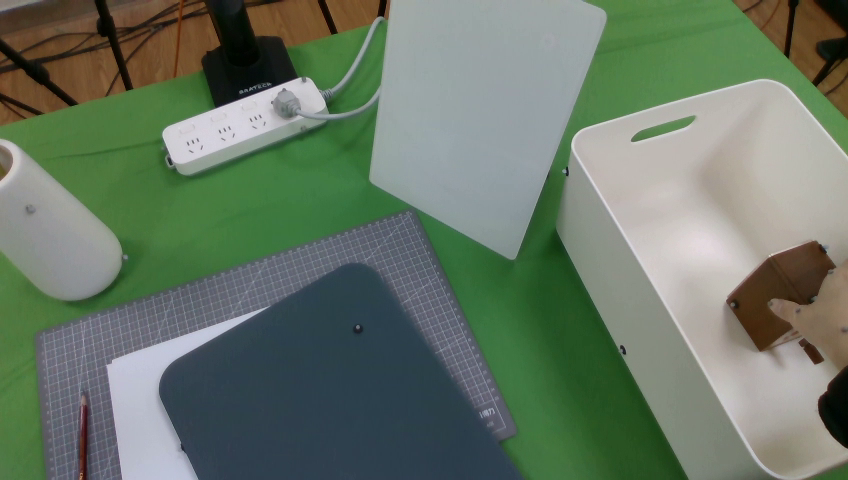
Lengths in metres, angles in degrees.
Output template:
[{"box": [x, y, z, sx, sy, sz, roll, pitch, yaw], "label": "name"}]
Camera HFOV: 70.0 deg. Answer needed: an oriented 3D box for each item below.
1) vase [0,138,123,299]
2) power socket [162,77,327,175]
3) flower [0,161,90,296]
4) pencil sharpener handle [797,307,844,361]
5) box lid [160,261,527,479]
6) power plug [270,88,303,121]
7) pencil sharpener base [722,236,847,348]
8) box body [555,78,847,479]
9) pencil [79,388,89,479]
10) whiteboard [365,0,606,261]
[{"box": [-0.400, -0.016, 0.630, 0.098, 0.201, 0.097, -1, 59, 2], "label": "vase"}, {"box": [-0.235, -0.154, 0.805, 0.227, 0.033, 0.071, -24, 63, -14], "label": "power socket"}, {"box": [-0.401, -0.075, 0.569, 0.038, 0.365, 0.043, -30, 45, -24], "label": "flower"}, {"box": [0.393, 0.094, 0.593, 0.036, 0.068, 0.030, -18, 62, -8], "label": "pencil sharpener handle"}, {"box": [-0.079, 0.207, 0.605, 0.263, 0.015, 0.368, -31, 65, -17], "label": "box lid"}, {"box": [-0.176, -0.165, 0.784, 0.035, 0.053, 0.072, -16, 62, -8], "label": "power plug"}, {"box": [0.374, 0.059, 0.627, 0.061, 0.108, 0.076, -17, 61, -11], "label": "pencil sharpener base"}, {"box": [0.317, 0.040, 0.614, 0.254, 0.161, 0.360, -17, 61, -9], "label": "box body"}, {"box": [-0.332, 0.235, 0.590, 0.012, 0.012, 0.192, -13, 59, -7], "label": "pencil"}, {"box": [0.076, -0.168, 0.689, 0.216, 0.307, 0.143, 30, 45, 17], "label": "whiteboard"}]
